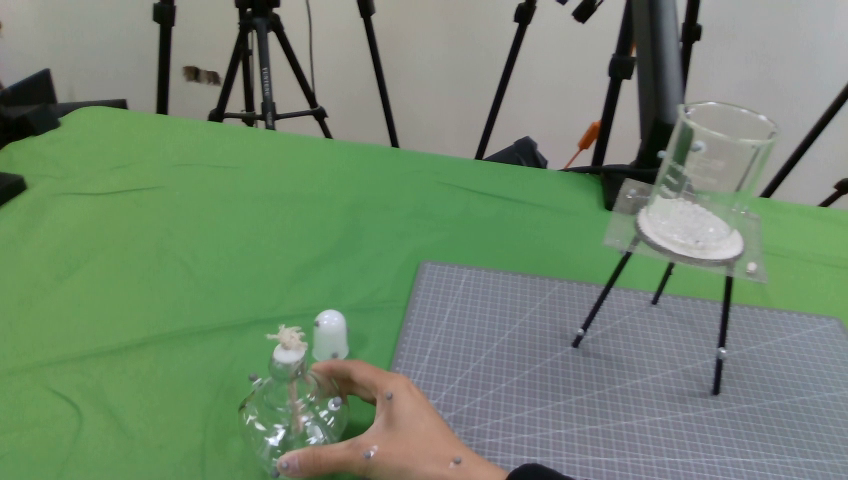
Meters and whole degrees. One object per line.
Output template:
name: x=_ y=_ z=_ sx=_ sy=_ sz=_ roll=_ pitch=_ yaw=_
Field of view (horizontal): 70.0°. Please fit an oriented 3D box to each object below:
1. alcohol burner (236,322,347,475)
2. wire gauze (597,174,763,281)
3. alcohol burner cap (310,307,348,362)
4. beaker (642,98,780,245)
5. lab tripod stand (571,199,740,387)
alcohol burner: x=-0.093 y=0.107 z=0.423 sx=0.078 sy=0.120 sz=0.077 roll=2 pitch=34 yaw=-1
wire gauze: x=0.217 y=-0.013 z=0.510 sx=0.121 sy=0.011 sz=0.124 roll=16 pitch=38 yaw=16
alcohol burner cap: x=-0.085 y=0.082 z=0.538 sx=0.034 sy=0.048 sz=0.033 roll=3 pitch=34 yaw=-2
beaker: x=0.220 y=-0.054 z=0.484 sx=0.074 sy=0.101 sz=0.083 roll=-17 pitch=41 yaw=-29
lab tripod stand: x=0.219 y=0.043 z=0.545 sx=0.148 sy=0.132 sz=0.147 roll=5 pitch=34 yaw=-3
